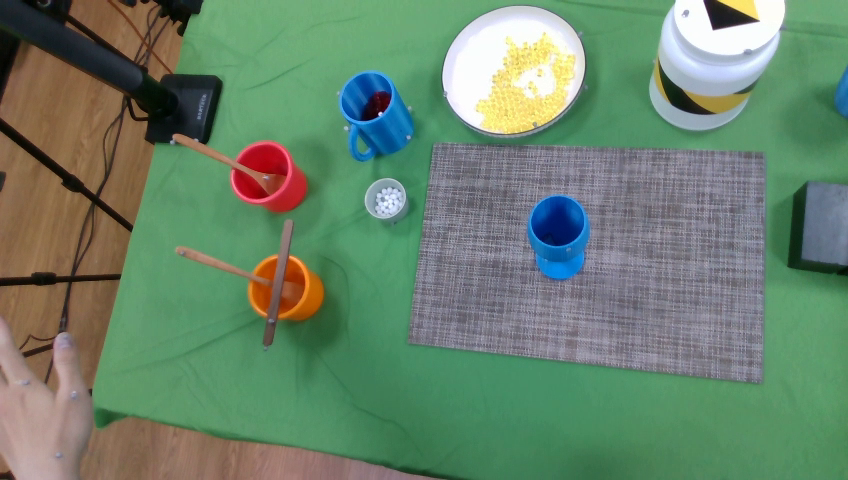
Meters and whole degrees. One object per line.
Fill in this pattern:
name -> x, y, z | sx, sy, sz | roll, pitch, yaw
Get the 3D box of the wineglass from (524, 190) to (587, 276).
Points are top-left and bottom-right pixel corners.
wineglass -> 0.162, -0.004, 0.743 | 0.073, 0.173, 0.073 | -3, 75, 13

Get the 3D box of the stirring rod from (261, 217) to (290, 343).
stirring rod -> -0.202, 0.053, 0.826 | 0.014, 0.006, 0.175 | 3, 78, 15

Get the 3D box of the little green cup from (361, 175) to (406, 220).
little green cup -> -0.056, -0.059, 0.882 | 0.061, 0.039, 0.061 | -3, 76, 13

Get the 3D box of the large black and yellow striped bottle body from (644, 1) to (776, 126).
large black and yellow striped bottle body -> 0.352, -0.238, 0.755 | 0.130, 0.185, 0.130 | -3, 75, 13

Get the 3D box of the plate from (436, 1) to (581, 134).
plate -> 0.123, -0.249, 0.888 | 0.209, 0.038, 0.208 | -3, 77, 12

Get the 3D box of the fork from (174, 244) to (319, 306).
fork -> -0.242, 0.048, 0.840 | 0.209, 0.018, 0.028 | 25, 87, -27

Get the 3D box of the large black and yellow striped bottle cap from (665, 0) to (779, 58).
large black and yellow striped bottle cap -> 0.331, -0.259, 0.676 | 0.115, 0.019, 0.114 | -3, 75, 11

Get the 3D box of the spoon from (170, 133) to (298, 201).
spoon -> -0.276, -0.110, 0.889 | 0.195, 0.021, 0.041 | 27, 83, -26

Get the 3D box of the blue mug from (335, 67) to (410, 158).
blue mug -> -0.080, -0.174, 0.880 | 0.082, 0.106, 0.116 | 25, 83, 18

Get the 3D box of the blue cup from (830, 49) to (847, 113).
blue cup -> 0.551, -0.203, 0.744 | 0.092, 0.101, 0.092 | -3, 76, 14
